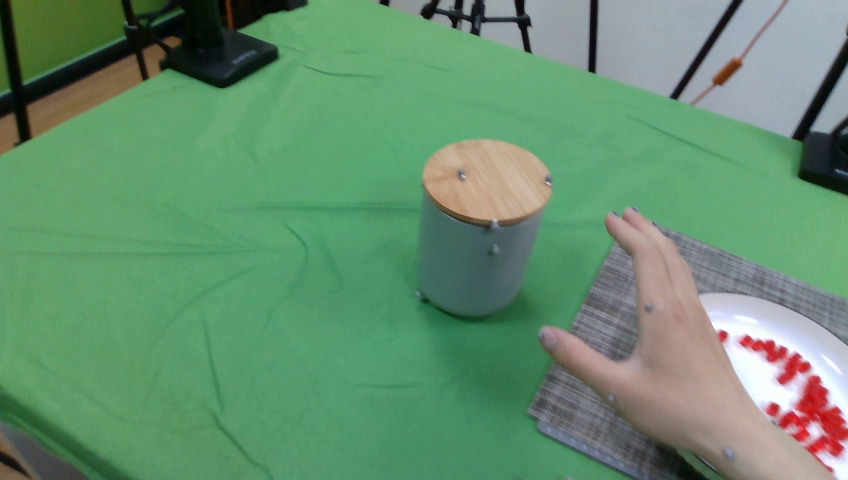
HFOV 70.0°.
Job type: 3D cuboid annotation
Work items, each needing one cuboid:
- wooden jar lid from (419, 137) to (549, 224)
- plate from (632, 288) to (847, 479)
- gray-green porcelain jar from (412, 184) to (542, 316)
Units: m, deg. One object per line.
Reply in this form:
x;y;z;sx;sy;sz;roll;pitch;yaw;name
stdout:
0.049;-0.048;0.508;0.108;0.021;0.107;3;46;-3;wooden jar lid
0.275;0.129;0.505;0.208;0.039;0.205;4;44;-3;plate
0.044;-0.002;0.553;0.106;0.127;0.105;4;44;-3;gray-green porcelain jar
